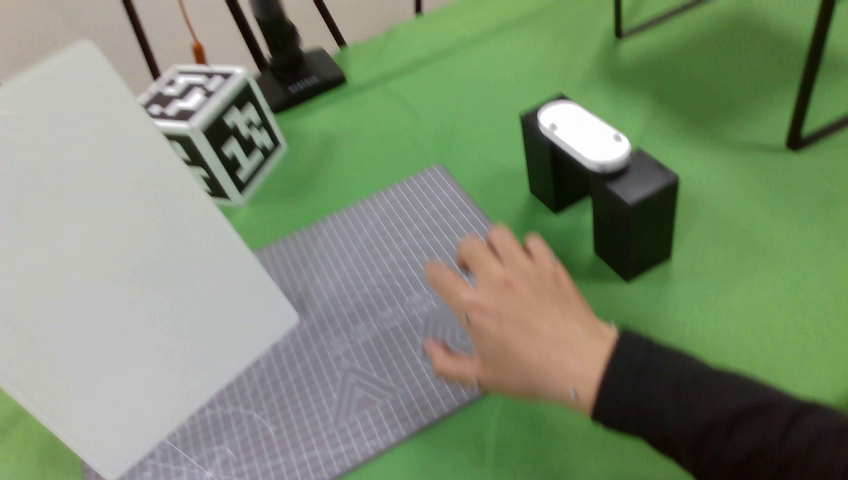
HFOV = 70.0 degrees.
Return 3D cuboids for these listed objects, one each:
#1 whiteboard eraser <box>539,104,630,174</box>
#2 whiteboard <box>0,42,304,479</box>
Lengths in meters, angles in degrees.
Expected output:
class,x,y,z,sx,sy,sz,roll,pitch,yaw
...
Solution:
class,x,y,z,sx,sy,sz,roll,pitch,yaw
whiteboard eraser,0.141,-0.093,0.541,0.041,0.019,0.100,-27,46,-12
whiteboard,-0.298,0.020,0.547,0.217,0.308,0.142,-42,30,-22
